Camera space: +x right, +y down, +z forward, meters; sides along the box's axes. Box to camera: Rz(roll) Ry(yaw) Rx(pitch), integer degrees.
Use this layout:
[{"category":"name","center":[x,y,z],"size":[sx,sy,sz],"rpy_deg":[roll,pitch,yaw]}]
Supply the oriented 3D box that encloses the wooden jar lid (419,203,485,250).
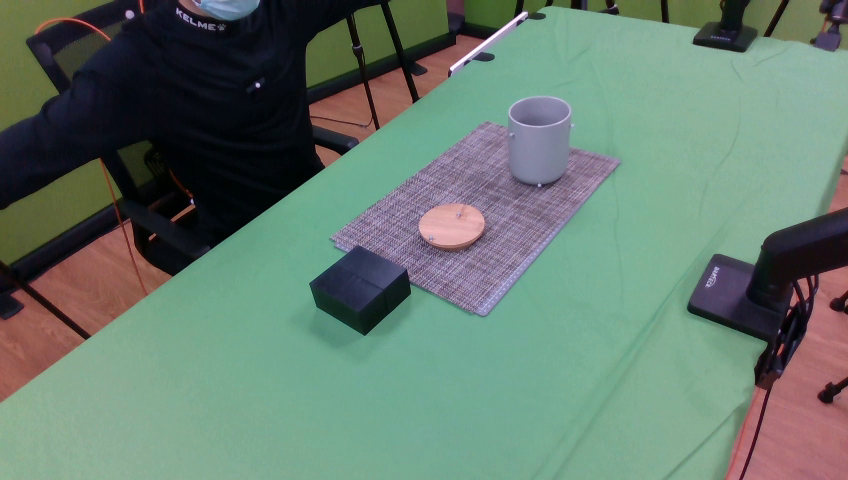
[{"category":"wooden jar lid","center":[0.046,-0.021,0.983],"size":[0.108,0.021,0.108],"rpy_deg":[-5,41,5]}]

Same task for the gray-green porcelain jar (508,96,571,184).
[{"category":"gray-green porcelain jar","center":[0.199,-0.169,1.051],"size":[0.106,0.127,0.105],"rpy_deg":[-4,41,4]}]
